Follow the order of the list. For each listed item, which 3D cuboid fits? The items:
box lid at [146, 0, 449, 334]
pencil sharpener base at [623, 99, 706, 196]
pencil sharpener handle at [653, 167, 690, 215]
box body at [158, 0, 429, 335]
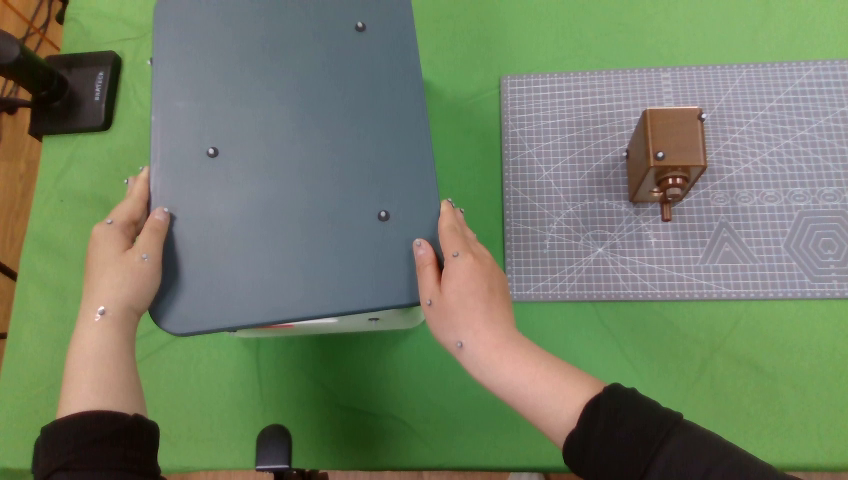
[{"bbox_3d":[-0.127,-0.106,0.574,0.263,0.015,0.369,-7,71,-1],"label":"box lid"},{"bbox_3d":[0.264,-0.096,0.673,0.061,0.108,0.076,-1,74,6],"label":"pencil sharpener base"},{"bbox_3d":[0.263,-0.051,0.647,0.036,0.068,0.030,-2,73,12],"label":"pencil sharpener handle"},{"bbox_3d":[-0.127,-0.079,0.688,0.254,0.161,0.361,-4,73,5],"label":"box body"}]
